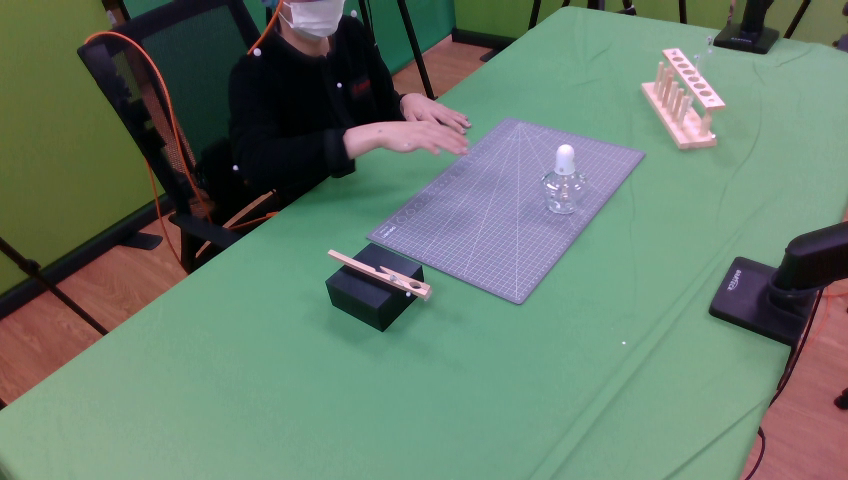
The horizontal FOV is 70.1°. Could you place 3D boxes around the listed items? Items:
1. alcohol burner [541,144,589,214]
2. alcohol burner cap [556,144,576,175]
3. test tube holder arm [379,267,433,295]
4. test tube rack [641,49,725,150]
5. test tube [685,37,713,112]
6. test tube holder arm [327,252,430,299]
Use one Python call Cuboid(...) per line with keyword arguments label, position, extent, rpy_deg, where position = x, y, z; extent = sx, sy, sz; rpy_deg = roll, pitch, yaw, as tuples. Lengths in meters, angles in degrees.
Cuboid(label="alcohol burner", position=(0.229, -0.102, 0.983), extent=(0.078, 0.119, 0.077), rpy_deg=(-6, 41, 5))
Cuboid(label="alcohol burner cap", position=(0.225, -0.129, 0.959), extent=(0.034, 0.048, 0.033), rpy_deg=(-6, 36, 5))
Cuboid(label="test tube holder arm", position=(-0.027, 0.057, 0.837), extent=(0.087, 0.015, 0.010), rpy_deg=(18, 54, 28))
Cuboid(label="test tube rack", position=(0.495, -0.279, 1.175), extent=(0.067, 0.085, 0.241), rpy_deg=(-5, 41, 3))
Cuboid(label="test tube", position=(0.509, -0.306, 1.128), extent=(0.017, 0.151, 0.017), rpy_deg=(-1, 45, 1))
Cuboid(label="test tube holder arm", position=(-0.068, 0.049, 0.855), extent=(0.177, 0.015, 0.013), rpy_deg=(18, 54, 27))
